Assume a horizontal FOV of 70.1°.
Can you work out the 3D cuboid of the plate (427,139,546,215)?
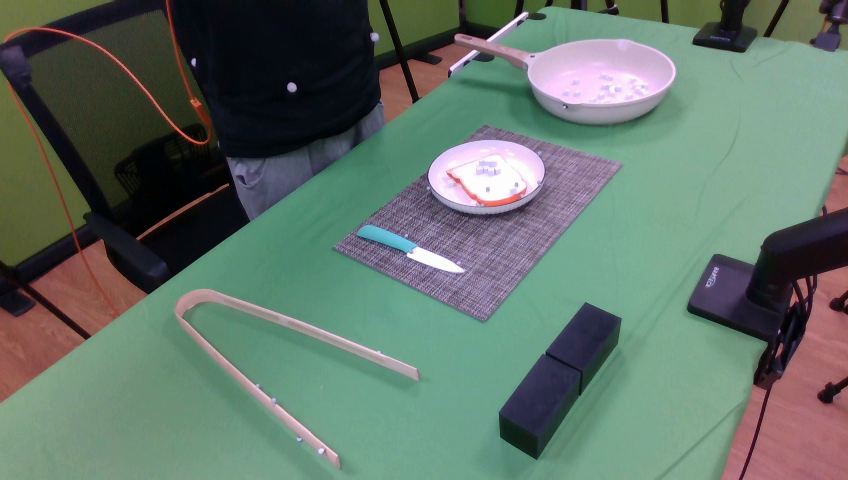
[{"bbox_3d":[0.109,-0.107,1.058,0.207,0.039,0.206,-4,40,4],"label":"plate"}]

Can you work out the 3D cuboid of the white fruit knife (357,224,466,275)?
[{"bbox_3d":[-0.021,0.014,0.955,0.206,0.016,0.027,22,78,28],"label":"white fruit knife"}]

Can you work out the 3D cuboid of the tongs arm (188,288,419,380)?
[{"bbox_3d":[-0.178,0.126,0.842,0.385,0.028,0.028,15,48,24],"label":"tongs arm"}]

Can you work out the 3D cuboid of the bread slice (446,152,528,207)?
[{"bbox_3d":[0.118,-0.104,1.057,0.107,0.018,0.133,-24,42,-18],"label":"bread slice"}]

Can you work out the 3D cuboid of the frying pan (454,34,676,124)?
[{"bbox_3d":[0.277,-0.370,1.295,0.485,0.103,0.307,26,49,22],"label":"frying pan"}]

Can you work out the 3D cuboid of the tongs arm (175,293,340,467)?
[{"bbox_3d":[-0.225,0.169,0.793,0.381,0.026,0.051,25,49,33],"label":"tongs arm"}]
